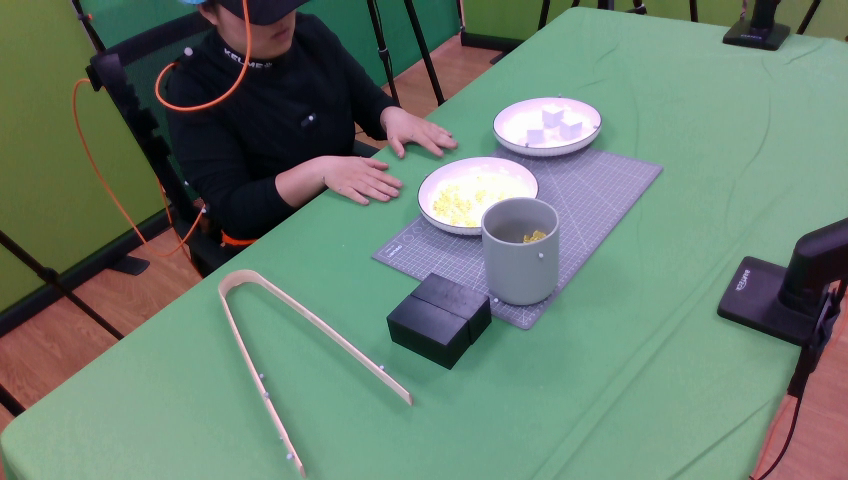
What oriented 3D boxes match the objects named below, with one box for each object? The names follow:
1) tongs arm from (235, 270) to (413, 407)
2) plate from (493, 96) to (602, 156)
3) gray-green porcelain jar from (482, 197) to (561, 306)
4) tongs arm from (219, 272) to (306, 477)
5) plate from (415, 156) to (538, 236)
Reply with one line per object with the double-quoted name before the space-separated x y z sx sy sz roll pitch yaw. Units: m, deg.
"tongs arm" -0.153 0.127 0.858 0.384 0.028 0.028 28 54 36
"plate" 0.238 -0.218 1.179 0.209 0.038 0.208 -4 39 4
"gray-green porcelain jar" 0.137 0.020 0.846 0.106 0.127 0.105 -5 40 5
"tongs arm" -0.218 0.161 0.822 0.051 0.026 0.381 -26 42 -21
"plate" 0.090 -0.072 1.034 0.207 0.039 0.206 -5 40 5
